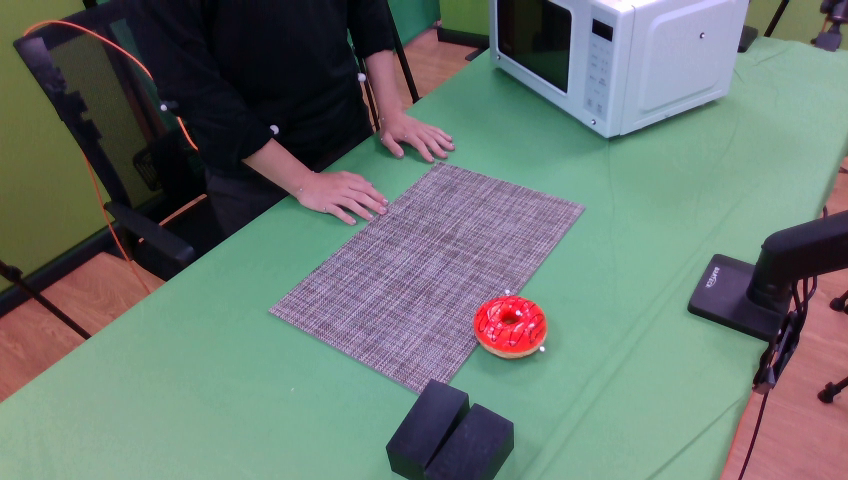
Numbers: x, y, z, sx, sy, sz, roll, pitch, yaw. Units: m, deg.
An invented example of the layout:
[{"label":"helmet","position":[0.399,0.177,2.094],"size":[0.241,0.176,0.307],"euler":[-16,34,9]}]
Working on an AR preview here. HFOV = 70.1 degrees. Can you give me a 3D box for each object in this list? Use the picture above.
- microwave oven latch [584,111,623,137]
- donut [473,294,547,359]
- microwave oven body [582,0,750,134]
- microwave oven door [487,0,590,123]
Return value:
[{"label":"microwave oven latch","position":[0.337,-0.222,1.142],"size":[0.030,0.029,0.078],"euler":[-21,42,-14]},{"label":"donut","position":[0.114,0.114,0.803],"size":[0.099,0.048,0.098],"euler":[0,40,1]},{"label":"microwave oven body","position":[0.382,-0.444,1.246],"size":[0.327,0.261,0.437],"euler":[-22,42,-16]},{"label":"microwave oven door","position":[0.232,-0.420,1.231],"size":[0.039,0.245,0.352],"euler":[-22,43,-16]}]
